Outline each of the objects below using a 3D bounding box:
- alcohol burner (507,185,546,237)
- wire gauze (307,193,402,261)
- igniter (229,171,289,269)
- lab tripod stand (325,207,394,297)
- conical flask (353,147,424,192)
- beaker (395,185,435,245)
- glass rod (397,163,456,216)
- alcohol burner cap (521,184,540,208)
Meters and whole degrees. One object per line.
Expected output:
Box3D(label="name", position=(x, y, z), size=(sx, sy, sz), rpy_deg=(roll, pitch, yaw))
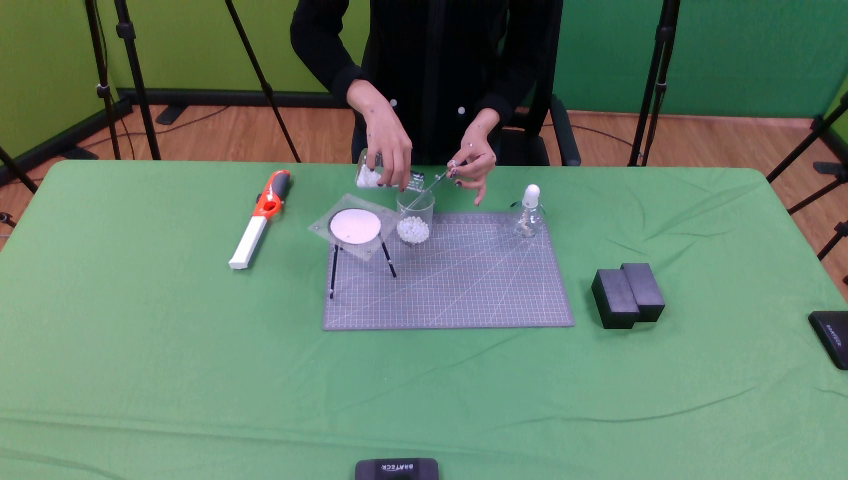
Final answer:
Box3D(label="alcohol burner", position=(0.208, -0.063, 1.210), size=(0.078, 0.119, 0.077), rpy_deg=(3, 44, -3))
Box3D(label="wire gauze", position=(-0.118, -0.028, 1.043), size=(0.125, 0.011, 0.121), rpy_deg=(24, 47, 17))
Box3D(label="igniter", position=(-0.328, -0.049, 1.218), size=(0.057, 0.025, 0.275), rpy_deg=(0, 45, 10))
Box3D(label="lab tripod stand", position=(-0.124, 0.017, 1.092), size=(0.148, 0.132, 0.147), rpy_deg=(3, 44, -3))
Box3D(label="conical flask", position=(-0.062, -0.119, 1.101), size=(0.122, 0.075, 0.075), rpy_deg=(13, 45, -12))
Box3D(label="beaker", position=(-0.022, -0.048, 1.187), size=(0.074, 0.101, 0.083), rpy_deg=(-28, 53, -28))
Box3D(label="glass rod", position=(0.001, -0.091, 1.125), size=(0.008, 0.200, 0.008), rpy_deg=(17, 56, -28))
Box3D(label="alcohol burner cap", position=(0.210, -0.087, 1.183), size=(0.034, 0.048, 0.033), rpy_deg=(1, 52, -1))
